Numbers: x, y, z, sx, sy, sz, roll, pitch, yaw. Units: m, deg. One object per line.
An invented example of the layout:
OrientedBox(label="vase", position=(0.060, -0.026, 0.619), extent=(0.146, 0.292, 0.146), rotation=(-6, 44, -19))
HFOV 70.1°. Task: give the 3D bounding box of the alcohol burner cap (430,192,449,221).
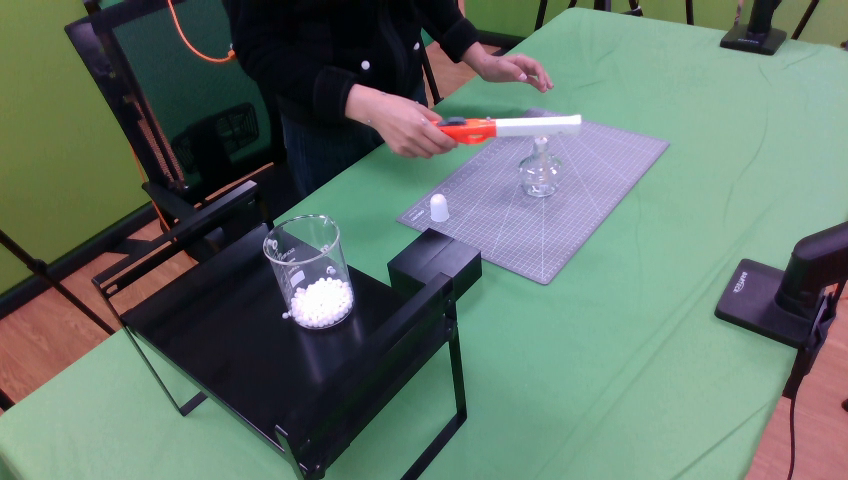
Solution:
OrientedBox(label="alcohol burner cap", position=(0.025, -0.059, 1.020), extent=(0.034, 0.048, 0.033), rotation=(-4, 41, 4))

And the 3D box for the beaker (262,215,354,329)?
OrientedBox(label="beaker", position=(-0.112, 0.034, 0.616), extent=(0.073, 0.101, 0.084), rotation=(13, 44, 23))

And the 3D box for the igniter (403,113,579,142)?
OrientedBox(label="igniter", position=(0.100, -0.177, 0.949), extent=(0.276, 0.057, 0.025), rotation=(-1, 59, 8))

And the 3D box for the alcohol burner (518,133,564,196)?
OrientedBox(label="alcohol burner", position=(0.199, -0.135, 1.027), extent=(0.078, 0.119, 0.077), rotation=(-5, 42, 5))
